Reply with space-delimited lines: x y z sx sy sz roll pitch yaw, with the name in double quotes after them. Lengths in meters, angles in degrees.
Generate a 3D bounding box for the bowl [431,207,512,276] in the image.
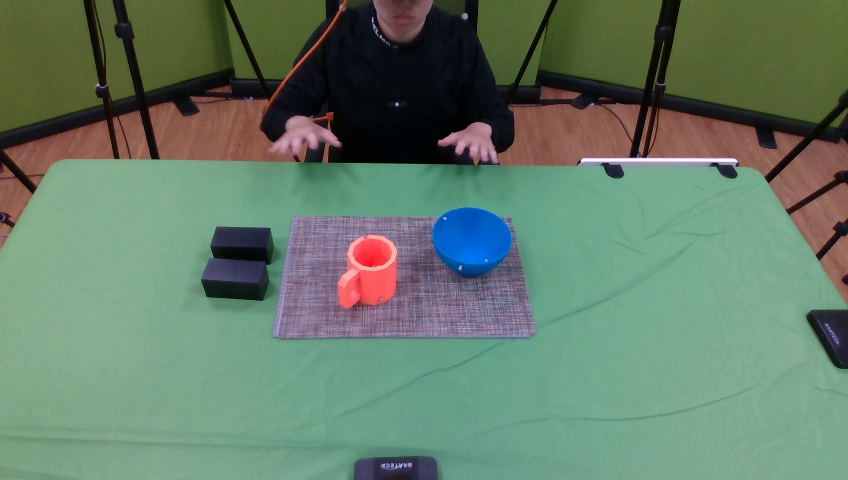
0.086 0.016 1.147 0.151 0.077 0.150 2 46 -2 "bowl"

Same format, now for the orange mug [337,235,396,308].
-0.104 0.063 1.073 0.083 0.101 0.126 32 48 24 "orange mug"
